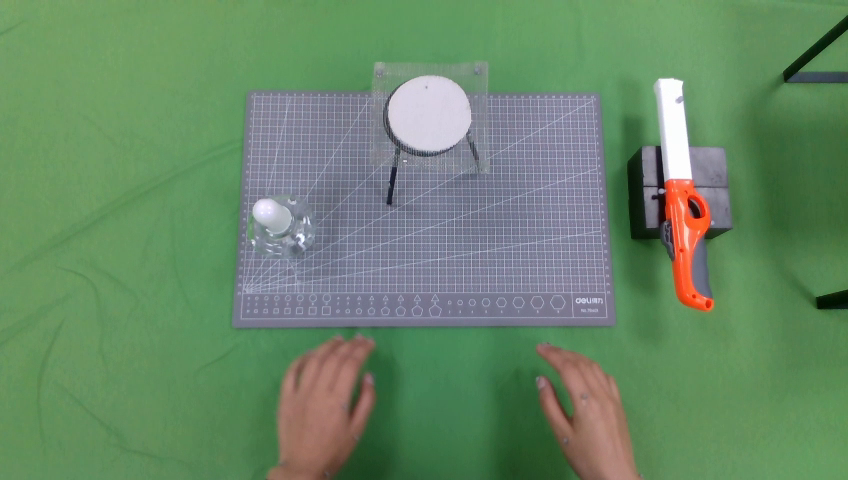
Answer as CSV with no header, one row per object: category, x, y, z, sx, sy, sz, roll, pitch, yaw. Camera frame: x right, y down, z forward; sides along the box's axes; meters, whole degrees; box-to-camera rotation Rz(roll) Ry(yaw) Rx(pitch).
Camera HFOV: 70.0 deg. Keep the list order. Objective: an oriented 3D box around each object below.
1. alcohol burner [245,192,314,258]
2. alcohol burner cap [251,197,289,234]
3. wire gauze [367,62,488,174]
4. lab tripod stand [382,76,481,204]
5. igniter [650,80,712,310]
alcohol burner,-0.164,-0.021,0.674,0.078,0.119,0.077,0,78,0
alcohol burner cap,-0.165,-0.028,0.639,0.034,0.048,0.033,-2,76,7
wire gauze,0.005,-0.129,0.625,0.125,0.011,0.121,3,77,0
lab tripod stand,-0.003,-0.118,0.691,0.148,0.132,0.147,0,77,0
igniter,0.292,-0.056,0.695,0.057,0.025,0.275,0,75,-4
